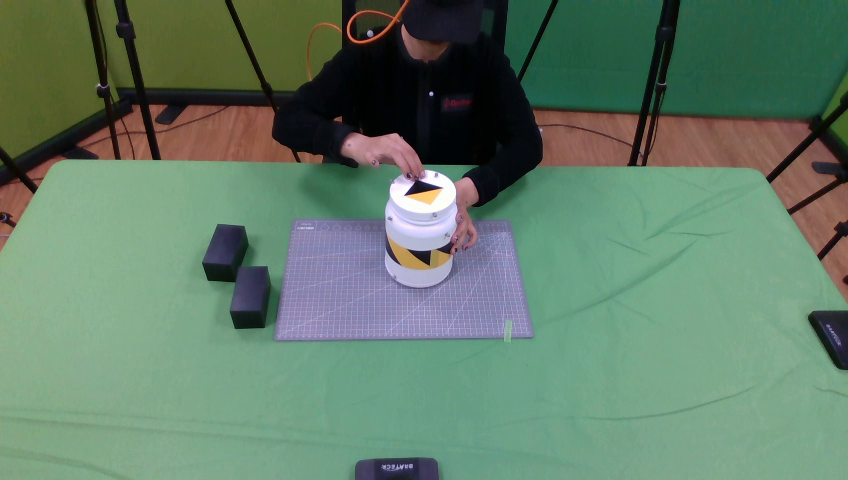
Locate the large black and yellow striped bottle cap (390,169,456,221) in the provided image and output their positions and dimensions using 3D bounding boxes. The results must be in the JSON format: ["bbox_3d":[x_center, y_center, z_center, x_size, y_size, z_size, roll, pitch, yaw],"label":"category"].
[{"bbox_3d":[-0.001,-0.079,1.034,0.115,0.019,0.114,2,48,-2],"label":"large black and yellow striped bottle cap"}]

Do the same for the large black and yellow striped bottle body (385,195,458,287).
[{"bbox_3d":[-0.007,-0.018,1.097,0.131,0.185,0.130,2,46,-2],"label":"large black and yellow striped bottle body"}]
